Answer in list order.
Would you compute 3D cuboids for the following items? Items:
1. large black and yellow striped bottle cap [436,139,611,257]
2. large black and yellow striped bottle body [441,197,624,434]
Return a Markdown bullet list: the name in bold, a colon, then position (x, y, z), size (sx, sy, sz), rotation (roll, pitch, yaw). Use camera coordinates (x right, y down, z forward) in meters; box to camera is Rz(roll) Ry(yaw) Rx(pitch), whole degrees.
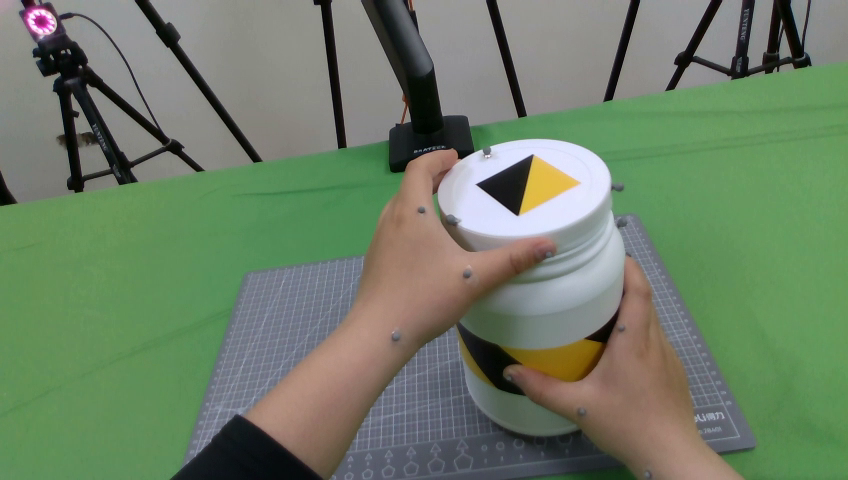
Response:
- **large black and yellow striped bottle cap**: position (0.065, -0.032, 0.405), size (0.115, 0.019, 0.114), rotation (-7, 39, 6)
- **large black and yellow striped bottle body**: position (0.084, 0.043, 0.462), size (0.130, 0.186, 0.129), rotation (-8, 38, 6)
